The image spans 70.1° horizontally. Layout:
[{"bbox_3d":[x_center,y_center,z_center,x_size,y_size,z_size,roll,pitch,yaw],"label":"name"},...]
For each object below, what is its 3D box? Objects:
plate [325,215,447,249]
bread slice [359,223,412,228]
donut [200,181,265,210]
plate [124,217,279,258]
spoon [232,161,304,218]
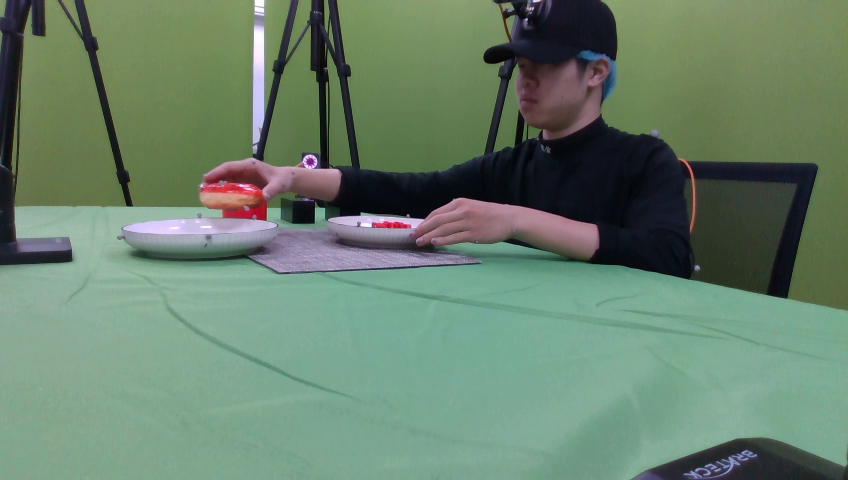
[{"bbox_3d":[-0.065,-0.015,1.035,0.209,0.038,0.209,3,8,0],"label":"plate"},{"bbox_3d":[-0.062,-0.012,1.034,0.105,0.019,0.131,1,9,-19],"label":"bread slice"},{"bbox_3d":[-0.305,-0.070,0.967,0.099,0.048,0.099,0,5,0],"label":"donut"},{"bbox_3d":[-0.315,-0.004,0.871,0.208,0.039,0.207,1,8,0],"label":"plate"},{"bbox_3d":[-0.314,-0.096,1.192,0.194,0.022,0.041,-42,12,-5],"label":"spoon"}]
